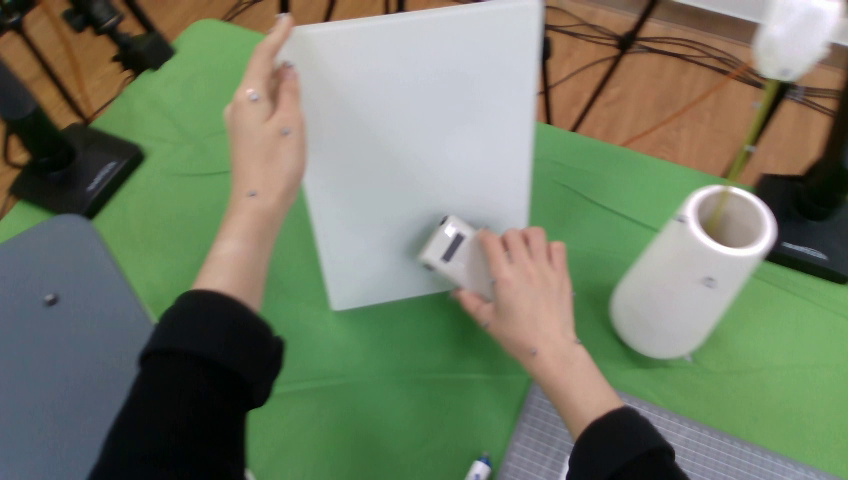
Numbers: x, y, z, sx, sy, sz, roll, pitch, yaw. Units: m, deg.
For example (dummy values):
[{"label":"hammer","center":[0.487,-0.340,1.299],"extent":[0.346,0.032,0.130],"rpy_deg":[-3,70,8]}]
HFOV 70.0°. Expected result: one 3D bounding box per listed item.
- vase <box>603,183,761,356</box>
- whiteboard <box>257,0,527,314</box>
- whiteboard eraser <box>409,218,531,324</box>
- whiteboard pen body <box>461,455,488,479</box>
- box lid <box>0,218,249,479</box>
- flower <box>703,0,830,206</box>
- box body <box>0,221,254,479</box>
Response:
[{"label":"vase","center":[0.234,0.032,0.567],"extent":[0.098,0.201,0.097],"rpy_deg":[0,57,1]},{"label":"whiteboard","center":[-0.024,-0.099,0.620],"extent":[0.217,0.308,0.142],"rpy_deg":[-10,39,-6]},{"label":"whiteboard eraser","center":[0.044,0.031,0.590],"extent":[0.113,0.041,0.055],"rpy_deg":[35,83,-12]},{"label":"whiteboard pen body","center":[0.019,0.253,0.534],"extent":[0.017,0.017,0.140],"rpy_deg":[27,59,16]},{"label":"box lid","center":[-0.294,0.159,0.418],"extent":[0.263,0.015,0.368],"rpy_deg":[-35,65,-20]},{"label":"flower","center":[0.233,-0.025,0.505],"extent":[0.044,0.365,0.038],"rpy_deg":[14,42,12]},{"label":"box body","center":[-0.293,0.200,0.481],"extent":[0.254,0.162,0.361],"rpy_deg":[-35,65,-20]}]
